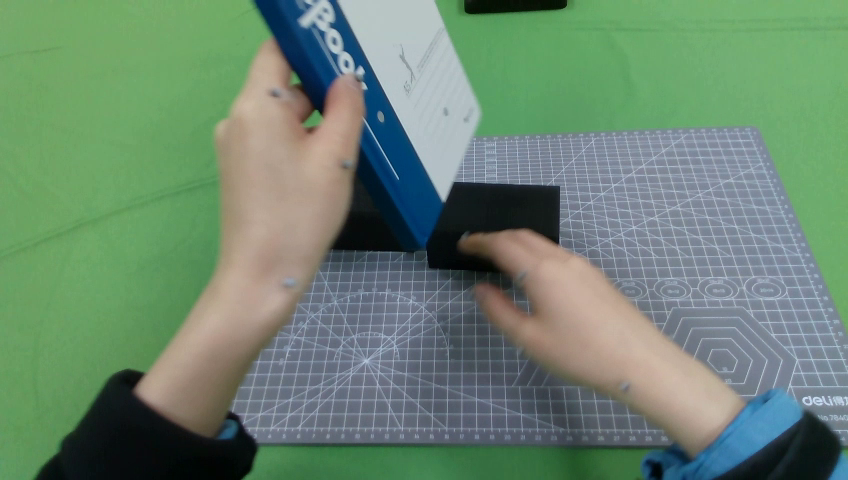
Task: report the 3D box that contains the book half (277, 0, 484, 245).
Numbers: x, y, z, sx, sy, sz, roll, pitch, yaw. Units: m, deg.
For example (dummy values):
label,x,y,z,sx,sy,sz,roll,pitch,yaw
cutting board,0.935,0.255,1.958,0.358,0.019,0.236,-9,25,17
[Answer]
label,x,y,z,sx,sy,sz,roll,pitch,yaw
book half,-0.022,-0.119,0.350,0.007,0.212,0.142,-7,41,32

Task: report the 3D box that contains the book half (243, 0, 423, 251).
label,x,y,z,sx,sy,sz,roll,pitch,yaw
book half,-0.029,-0.117,0.351,0.016,0.212,0.147,-7,41,31
